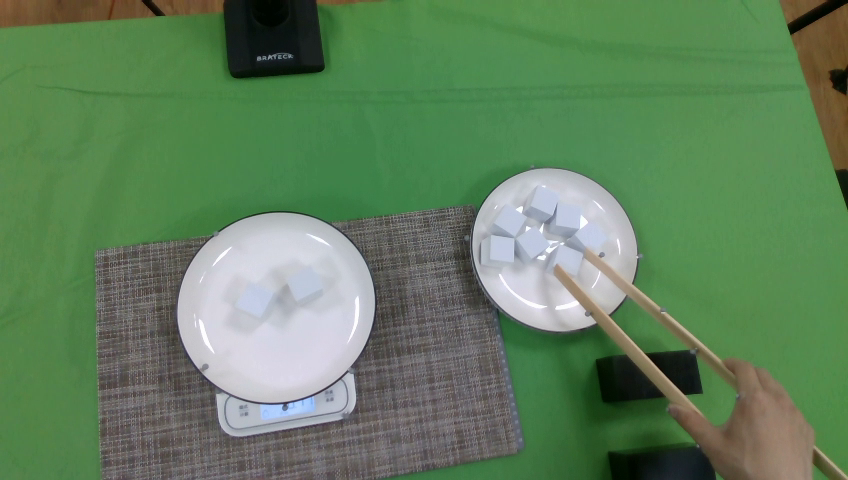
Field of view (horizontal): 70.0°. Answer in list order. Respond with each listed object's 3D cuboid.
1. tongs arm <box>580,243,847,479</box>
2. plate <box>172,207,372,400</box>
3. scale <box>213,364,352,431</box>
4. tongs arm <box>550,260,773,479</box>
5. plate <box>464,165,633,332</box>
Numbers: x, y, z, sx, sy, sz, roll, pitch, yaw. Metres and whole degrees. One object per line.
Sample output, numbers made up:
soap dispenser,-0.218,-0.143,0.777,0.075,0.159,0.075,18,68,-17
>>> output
tongs arm,0.285,0.137,0.625,0.051,0.027,0.381,-32,57,-19
plate,-0.160,0.067,0.659,0.209,0.038,0.208,2,75,-7
scale,-0.165,0.104,0.683,0.149,0.031,0.200,-7,76,-8
tongs arm,0.261,0.151,0.617,0.028,0.028,0.383,-28,55,-21
plate,0.150,0.011,0.744,0.208,0.039,0.206,2,75,-6
